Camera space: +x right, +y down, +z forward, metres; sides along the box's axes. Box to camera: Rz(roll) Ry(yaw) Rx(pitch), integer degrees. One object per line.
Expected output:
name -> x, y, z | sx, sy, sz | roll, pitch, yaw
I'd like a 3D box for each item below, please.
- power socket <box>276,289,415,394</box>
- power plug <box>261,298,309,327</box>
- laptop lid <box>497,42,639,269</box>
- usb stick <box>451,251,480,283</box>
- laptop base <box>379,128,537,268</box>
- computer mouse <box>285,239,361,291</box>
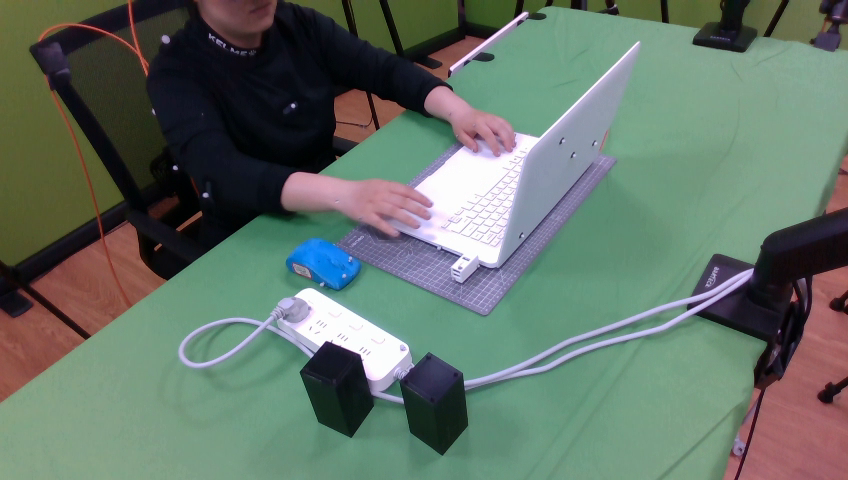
power socket -> -0.114, 0.133, 0.821 | 0.225, 0.033, 0.072 | 25, 49, 33
power plug -> -0.193, 0.107, 0.831 | 0.073, 0.053, 0.035 | -31, 43, -25
laptop lid -> 0.221, -0.130, 0.912 | 0.013, 0.242, 0.357 | 31, 51, 21
usb stick -> 0.066, 0.036, 0.899 | 0.021, 0.027, 0.059 | 23, 45, 32
laptop base -> 0.118, -0.088, 1.058 | 0.233, 0.023, 0.355 | 19, 47, 32
computer mouse -> -0.158, 0.035, 0.939 | 0.116, 0.041, 0.063 | 23, 46, 24
